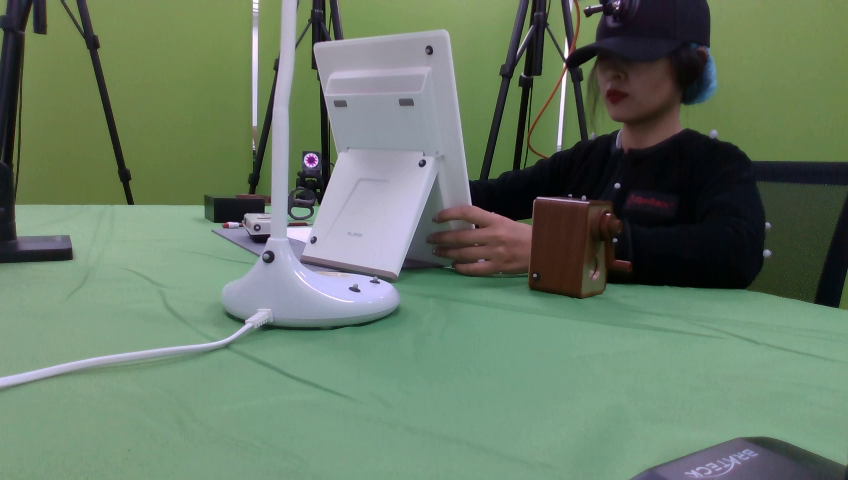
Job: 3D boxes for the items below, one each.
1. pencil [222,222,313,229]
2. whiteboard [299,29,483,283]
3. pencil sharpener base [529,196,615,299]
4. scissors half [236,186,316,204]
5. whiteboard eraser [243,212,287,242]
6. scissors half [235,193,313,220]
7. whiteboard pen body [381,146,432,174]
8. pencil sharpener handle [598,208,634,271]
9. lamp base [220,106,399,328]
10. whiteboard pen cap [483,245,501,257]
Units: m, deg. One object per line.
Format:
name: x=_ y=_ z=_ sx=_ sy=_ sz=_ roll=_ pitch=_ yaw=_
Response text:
pencil: x=-0.302 y=-0.030 z=1.189 sx=0.195 sy=0.012 sz=0.012 roll=-2 pitch=9 yaw=-42
whiteboard: x=-0.074 y=-0.082 z=0.742 sx=0.216 sy=0.305 sz=0.144 roll=9 pitch=29 yaw=37
pencil sharpener base: x=0.168 y=0.007 z=0.678 sx=0.076 sy=0.107 sz=0.062 roll=10 pitch=10 yaw=42
scissors half: x=-0.320 y=-0.097 z=1.316 sx=0.176 sy=0.040 sz=0.013 roll=-3 pitch=11 yaw=-29
whiteboard eraser: x=-0.260 y=-0.021 z=0.982 sx=0.056 sy=0.042 sz=0.112 roll=0 pitch=8 yaw=-23
scissors half: x=-0.324 y=-0.077 z=1.319 sx=0.176 sy=0.040 sz=0.012 roll=17 pitch=6 yaw=-31
whiteboard pen body: x=-0.025 y=-0.115 z=0.873 sx=0.017 sy=0.017 sz=0.141 roll=6 pitch=23 yaw=28
pencil sharpener handle: x=0.208 y=0.000 z=0.644 sx=0.030 sy=0.068 sz=0.036 roll=10 pitch=23 yaw=42
lamp base: x=-0.101 y=-0.023 z=0.531 sx=0.160 sy=0.180 sz=0.179 roll=4 pitch=10 yaw=10
whiteboard pen cap: x=0.104 y=0.017 z=0.936 sx=0.018 sy=0.018 sz=0.033 roll=-1 pitch=4 yaw=-22
